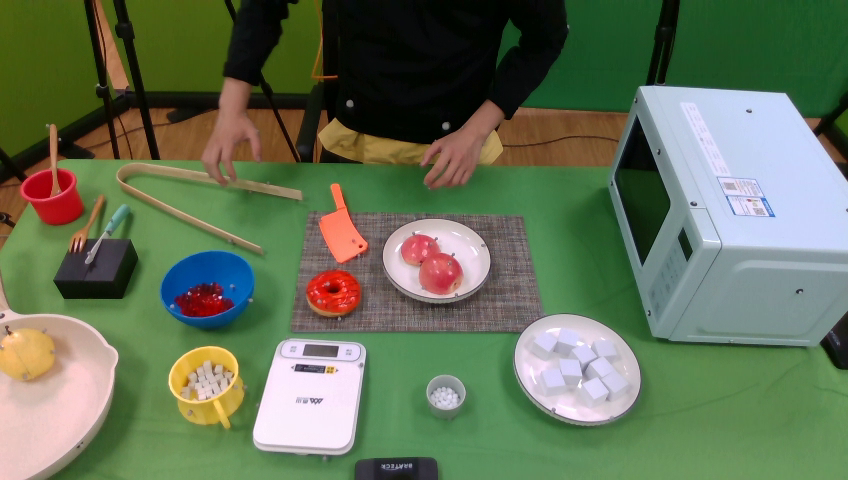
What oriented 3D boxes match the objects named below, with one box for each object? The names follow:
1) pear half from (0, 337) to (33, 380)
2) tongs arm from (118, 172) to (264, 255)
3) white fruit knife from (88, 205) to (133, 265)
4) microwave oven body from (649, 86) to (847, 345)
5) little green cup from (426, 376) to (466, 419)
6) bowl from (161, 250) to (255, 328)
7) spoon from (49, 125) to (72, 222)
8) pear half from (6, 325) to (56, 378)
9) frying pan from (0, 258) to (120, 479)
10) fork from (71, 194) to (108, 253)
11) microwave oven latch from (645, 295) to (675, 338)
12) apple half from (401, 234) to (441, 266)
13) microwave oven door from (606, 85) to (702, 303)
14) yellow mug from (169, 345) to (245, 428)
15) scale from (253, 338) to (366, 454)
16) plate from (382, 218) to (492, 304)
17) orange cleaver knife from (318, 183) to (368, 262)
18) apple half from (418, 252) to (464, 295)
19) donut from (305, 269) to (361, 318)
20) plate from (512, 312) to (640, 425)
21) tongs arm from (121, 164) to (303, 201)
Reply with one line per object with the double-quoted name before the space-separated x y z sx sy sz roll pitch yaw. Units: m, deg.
"pear half" -0.631 0.184 0.921 0.070 0.088 0.031 29 49 19
"tongs arm" -0.473 -0.053 1.210 0.386 0.028 0.028 23 56 18
"white fruit knife" -0.584 -0.013 1.129 0.016 0.027 0.206 0 32 -5
"microwave oven body" 0.567 -0.053 1.118 0.326 0.261 0.439 2 45 -1
"little green cup" 0.033 0.248 0.950 0.061 0.039 0.061 2 46 -2
"bowl" -0.362 0.098 1.039 0.151 0.077 0.150 2 45 -2
"spoon" -0.718 -0.131 1.189 0.041 0.021 0.193 -4 90 -6
"pear half" -0.608 0.158 0.935 0.076 0.110 0.056 31 51 20
"frying pan" -0.647 0.164 0.936 0.307 0.103 0.485 -19 58 -22
"fork" -0.634 -0.036 1.158 0.028 0.019 0.206 -8 32 -8
"microwave oven latch" 0.412 0.134 1.061 0.030 0.029 0.078 3 45 0
"apple half" -0.005 0.014 1.159 0.081 0.033 0.081 5 44 -4
"microwave oven door" 0.423 -0.094 1.140 0.039 0.245 0.353 2 46 -1
"yellow mug" -0.322 0.230 0.922 0.100 0.064 0.130 -24 53 -25
"scale" -0.175 0.236 0.951 0.149 0.032 0.199 5 45 -1
"plate" 0.023 0.042 1.143 0.209 0.038 0.208 2 46 -2
"orange cleaver knife" -0.173 -0.037 1.218 0.077 0.012 0.210 -16 50 -12
"apple half" 0.033 0.055 1.109 0.081 0.053 0.074 -31 58 -28
"donut" -0.160 0.094 1.075 0.099 0.048 0.098 4 45 -3
"plate" 0.246 0.213 0.999 0.208 0.039 0.206 2 46 -2
"tongs arm" -0.443 -0.114 1.266 0.384 0.026 0.050 12 50 8
